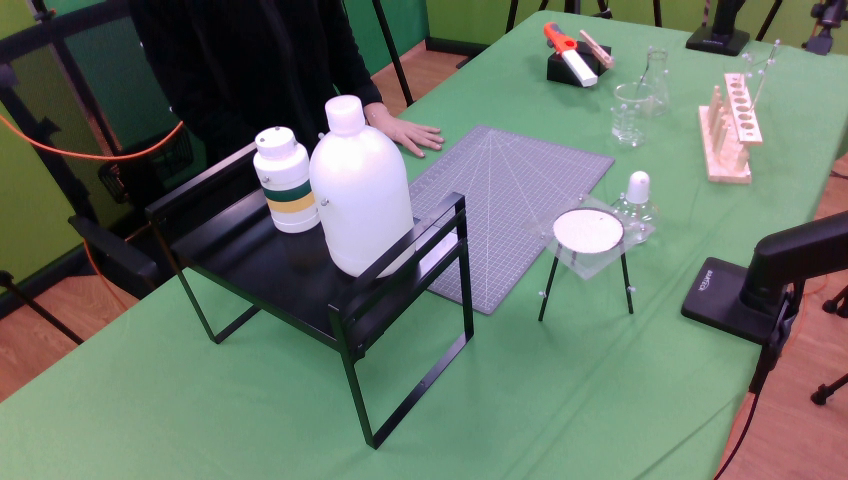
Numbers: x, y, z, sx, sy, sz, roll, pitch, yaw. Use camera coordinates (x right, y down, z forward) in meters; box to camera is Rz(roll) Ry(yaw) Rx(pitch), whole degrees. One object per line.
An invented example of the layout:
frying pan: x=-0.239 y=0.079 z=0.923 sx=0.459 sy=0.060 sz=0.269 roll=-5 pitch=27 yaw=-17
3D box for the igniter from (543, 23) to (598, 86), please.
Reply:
igniter: x=0.320 y=-0.419 z=1.345 sx=0.057 sy=0.025 sz=0.274 roll=-12 pitch=44 yaw=-3

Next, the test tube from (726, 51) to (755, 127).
test tube: x=0.567 y=-0.268 z=1.086 sx=0.017 sy=0.151 sz=0.017 roll=-4 pitch=45 yaw=5

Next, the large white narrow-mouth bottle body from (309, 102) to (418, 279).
large white narrow-mouth bottle body: x=-0.068 y=-0.057 z=0.644 sx=0.102 sy=0.195 sz=0.101 roll=-6 pitch=40 yaw=5

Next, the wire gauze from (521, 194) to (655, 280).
wire gauze: x=0.207 y=-0.012 z=0.772 sx=0.122 sy=0.011 sz=0.124 roll=-28 pitch=44 yaw=-20

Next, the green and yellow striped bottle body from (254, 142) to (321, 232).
green and yellow striped bottle body: x=-0.165 y=-0.073 z=0.732 sx=0.063 sy=0.120 sz=0.063 roll=-4 pitch=41 yaw=4

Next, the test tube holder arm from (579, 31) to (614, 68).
test tube holder arm: x=0.384 y=-0.428 z=1.351 sx=0.013 sy=0.015 sz=0.177 roll=-11 pitch=41 yaw=-4

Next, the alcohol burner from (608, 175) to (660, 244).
alcohol burner: x=0.322 y=-0.053 z=0.924 sx=0.078 sy=0.119 sz=0.077 roll=-4 pitch=43 yaw=4

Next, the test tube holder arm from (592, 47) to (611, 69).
test tube holder arm: x=0.386 y=-0.398 z=1.317 sx=0.010 sy=0.015 sz=0.087 roll=-10 pitch=41 yaw=-3

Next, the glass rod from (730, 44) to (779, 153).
glass rod: x=0.555 y=-0.234 z=1.021 sx=0.008 sy=0.200 sz=0.008 roll=2 pitch=40 yaw=-1

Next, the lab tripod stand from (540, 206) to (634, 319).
lab tripod stand: x=0.217 y=0.034 z=0.821 sx=0.148 sy=0.132 sz=0.147 roll=-4 pitch=42 yaw=4

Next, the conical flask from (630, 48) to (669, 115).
conical flask: x=0.456 y=-0.317 z=1.205 sx=0.075 sy=0.122 sz=0.075 roll=-4 pitch=41 yaw=4

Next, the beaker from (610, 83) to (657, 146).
beaker: x=0.388 y=-0.235 z=1.138 sx=0.074 sy=0.101 sz=0.083 roll=-31 pitch=45 yaw=-26

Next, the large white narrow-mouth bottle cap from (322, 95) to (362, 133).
large white narrow-mouth bottle cap: x=-0.080 y=-0.123 z=0.590 sx=0.038 sy=0.024 sz=0.037 roll=-5 pitch=40 yaw=5

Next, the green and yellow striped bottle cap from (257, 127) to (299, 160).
green and yellow striped bottle cap: x=-0.169 y=-0.112 z=0.699 sx=0.045 sy=0.020 sz=0.045 roll=-5 pitch=40 yaw=5

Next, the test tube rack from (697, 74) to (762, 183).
test tube rack: x=0.547 y=-0.208 z=1.095 sx=0.066 sy=0.085 sz=0.242 roll=5 pitch=42 yaw=15

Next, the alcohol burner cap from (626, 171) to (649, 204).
alcohol burner cap: x=0.320 y=-0.081 z=0.900 sx=0.034 sy=0.048 sz=0.033 roll=-4 pitch=42 yaw=4
